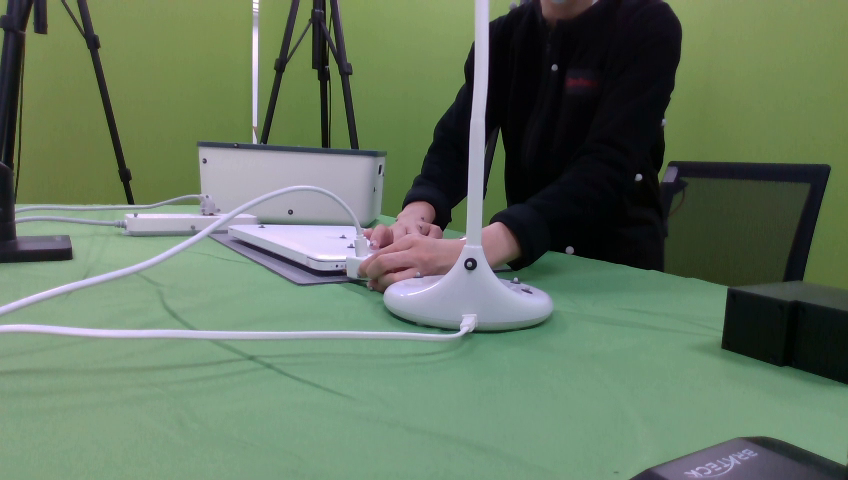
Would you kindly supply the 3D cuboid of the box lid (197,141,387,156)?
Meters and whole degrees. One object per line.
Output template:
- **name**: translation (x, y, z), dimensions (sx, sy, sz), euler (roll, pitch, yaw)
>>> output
- **box lid**: translation (-0.275, -0.198, 1.325), dimensions (0.372, 0.015, 0.263), euler (3, 8, 1)

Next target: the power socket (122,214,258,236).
- **power socket**: translation (-0.399, -0.028, 1.049), dimensions (0.228, 0.032, 0.072), euler (-3, 8, -34)

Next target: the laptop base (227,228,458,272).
- **laptop base**: translation (-0.122, 0.012, 0.889), dimensions (0.237, 0.023, 0.352), euler (1, 6, -35)

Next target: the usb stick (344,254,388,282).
- **usb stick**: translation (-0.068, 0.030, 0.672), dimensions (0.059, 0.027, 0.021), euler (0, 14, 44)

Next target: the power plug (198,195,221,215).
- **power plug**: translation (-0.387, -0.055, 1.089), dimensions (0.035, 0.052, 0.072), euler (-1, 6, -22)

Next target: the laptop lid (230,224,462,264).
- **laptop lid**: translation (-0.119, 0.001, 0.889), dimensions (0.243, 0.013, 0.355), euler (1, 8, -33)

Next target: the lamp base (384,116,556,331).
- **lamp base**: translation (0.046, -0.019, 0.545), dimensions (0.161, 0.180, 0.179), euler (1, 10, -4)

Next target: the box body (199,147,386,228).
- **box body**: translation (-0.276, -0.123, 1.335), dimensions (0.364, 0.160, 0.254), euler (3, 7, 1)
